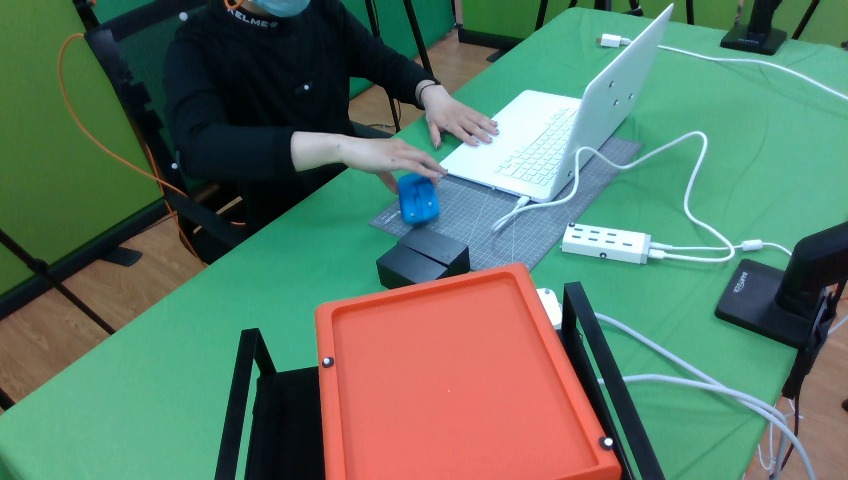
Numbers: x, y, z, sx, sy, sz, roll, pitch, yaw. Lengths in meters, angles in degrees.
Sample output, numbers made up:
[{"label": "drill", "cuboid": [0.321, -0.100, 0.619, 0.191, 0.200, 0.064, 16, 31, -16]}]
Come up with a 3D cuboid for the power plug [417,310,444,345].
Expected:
[{"label": "power plug", "cuboid": [0.007, 0.122, 0.785, 0.035, 0.053, 0.072, 0, 39, 7]}]

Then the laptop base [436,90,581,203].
[{"label": "laptop base", "cuboid": [0.214, -0.192, 1.172, 0.233, 0.023, 0.355, 19, 46, 32]}]

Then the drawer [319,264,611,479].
[{"label": "drawer", "cuboid": [0.020, 0.129, 0.497, 0.195, 0.073, 0.210, -11, 41, -5]}]

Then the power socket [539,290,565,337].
[{"label": "power socket", "cuboid": [0.081, 0.112, 0.822, 0.227, 0.033, 0.072, -6, 41, 0]}]

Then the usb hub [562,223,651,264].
[{"label": "usb hub", "cuboid": [0.279, 0.005, 0.926, 0.124, 0.025, 0.049, 10, 43, 19]}]

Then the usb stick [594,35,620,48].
[{"label": "usb stick", "cuboid": [0.443, -0.482, 1.466, 0.059, 0.021, 0.027, 10, 43, 10]}]

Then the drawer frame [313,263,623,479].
[{"label": "drawer frame", "cuboid": [0.021, 0.130, 0.493, 0.202, 0.083, 0.212, -11, 41, -6]}]

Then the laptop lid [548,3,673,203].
[{"label": "laptop lid", "cuboid": [0.320, -0.235, 1.026, 0.013, 0.242, 0.357, 31, 50, 20]}]

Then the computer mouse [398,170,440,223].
[{"label": "computer mouse", "cuboid": [-0.010, -0.077, 1.023, 0.063, 0.041, 0.116, -12, 45, 1]}]
